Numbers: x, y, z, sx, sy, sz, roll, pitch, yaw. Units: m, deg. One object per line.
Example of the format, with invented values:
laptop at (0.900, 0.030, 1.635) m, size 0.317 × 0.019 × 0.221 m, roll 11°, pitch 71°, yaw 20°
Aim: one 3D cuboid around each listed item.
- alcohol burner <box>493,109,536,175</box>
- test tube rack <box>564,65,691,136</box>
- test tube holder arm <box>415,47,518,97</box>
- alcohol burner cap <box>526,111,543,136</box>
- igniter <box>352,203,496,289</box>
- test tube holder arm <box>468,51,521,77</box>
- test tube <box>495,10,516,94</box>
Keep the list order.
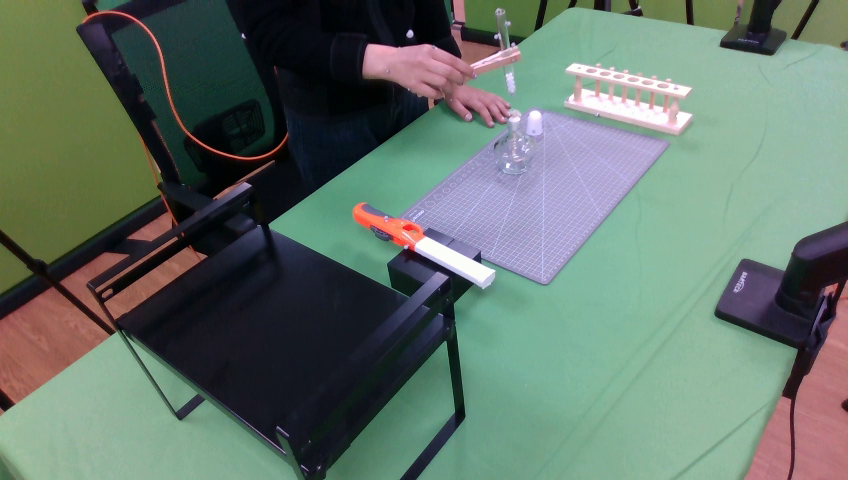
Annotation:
alcohol burner at (0.163, -0.179, 1.087) m, size 0.078 × 0.119 × 0.077 m, roll -5°, pitch 38°, yaw 4°
test tube rack at (0.404, -0.288, 1.204) m, size 0.240 × 0.085 × 0.067 m, roll 24°, pitch 49°, yaw 32°
test tube holder arm at (0.070, -0.273, 0.984) m, size 0.178 × 0.015 × 0.013 m, roll -22°, pitch 47°, yaw 1°
alcohol burner cap at (0.219, -0.232, 1.196) m, size 0.034 × 0.048 × 0.033 m, roll -4°, pitch 41°, yaw 4°
igniter at (-0.011, 0.002, 0.899) m, size 0.274 × 0.025 × 0.057 m, roll 27°, pitch 45°, yaw 33°
test tube holder arm at (0.114, -0.284, 0.978) m, size 0.088 × 0.015 × 0.010 m, roll -16°, pitch 48°, yaw 6°
test tube at (0.132, -0.299, 0.976) m, size 0.017 × 0.151 × 0.017 m, roll -9°, pitch 48°, yaw 10°
